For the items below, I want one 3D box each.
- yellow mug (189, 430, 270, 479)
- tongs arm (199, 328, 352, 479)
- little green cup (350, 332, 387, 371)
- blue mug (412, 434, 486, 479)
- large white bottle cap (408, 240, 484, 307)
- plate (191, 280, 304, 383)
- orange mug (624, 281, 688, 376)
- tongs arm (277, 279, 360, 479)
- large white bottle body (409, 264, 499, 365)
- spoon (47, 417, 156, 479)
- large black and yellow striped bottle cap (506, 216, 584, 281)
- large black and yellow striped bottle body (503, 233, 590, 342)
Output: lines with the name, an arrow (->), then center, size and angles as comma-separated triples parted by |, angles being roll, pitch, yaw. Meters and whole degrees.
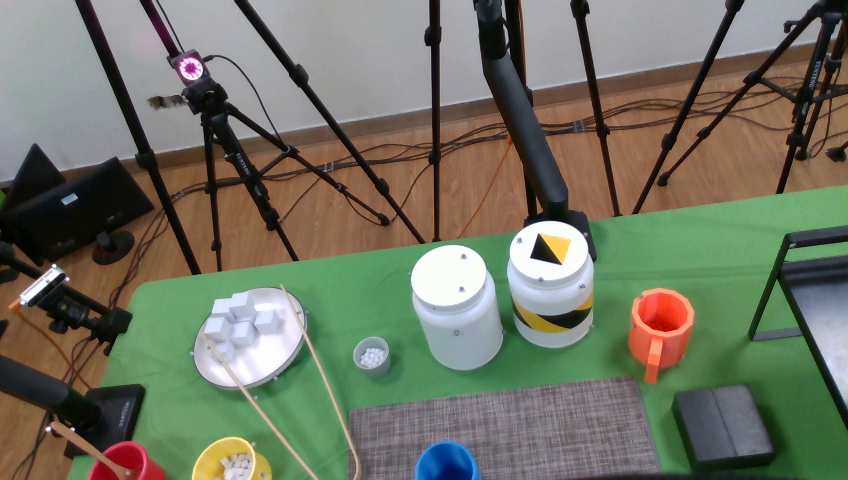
yellow mug -> -0.304, 0.361, 0.917 | 0.099, 0.064, 0.130 | 25, 62, 29
tongs arm -> -0.250, 0.257, 0.982 | 0.051, 0.027, 0.381 | -36, 59, -21
little green cup -> -0.091, 0.191, 1.024 | 0.061, 0.039, 0.061 | -6, 51, 8
blue mug -> 0.049, 0.329, 0.826 | 0.116, 0.107, 0.082 | 13, 55, 23
large white bottle cap -> 0.032, 0.048, 0.902 | 0.114, 0.018, 0.113 | -7, 50, 9
plate -> -0.314, 0.167, 1.098 | 0.207, 0.039, 0.205 | -7, 50, 8
orange mug -> 0.348, 0.138, 0.920 | 0.083, 0.102, 0.125 | 10, 50, 22
tongs arm -> -0.182, 0.214, 1.005 | 0.028, 0.028, 0.383 | -22, 56, -16
large white bottle body -> 0.048, 0.101, 0.966 | 0.130, 0.186, 0.129 | -7, 50, 8
spoon -> -0.498, 0.331, 0.937 | 0.194, 0.021, 0.041 | 43, 61, -11
large black and yellow striped bottle cap -> 0.179, 0.010, 0.899 | 0.115, 0.019, 0.114 | -6, 50, 8
large black and yellow striped bottle body -> 0.196, 0.064, 0.962 | 0.130, 0.186, 0.129 | -7, 50, 9
